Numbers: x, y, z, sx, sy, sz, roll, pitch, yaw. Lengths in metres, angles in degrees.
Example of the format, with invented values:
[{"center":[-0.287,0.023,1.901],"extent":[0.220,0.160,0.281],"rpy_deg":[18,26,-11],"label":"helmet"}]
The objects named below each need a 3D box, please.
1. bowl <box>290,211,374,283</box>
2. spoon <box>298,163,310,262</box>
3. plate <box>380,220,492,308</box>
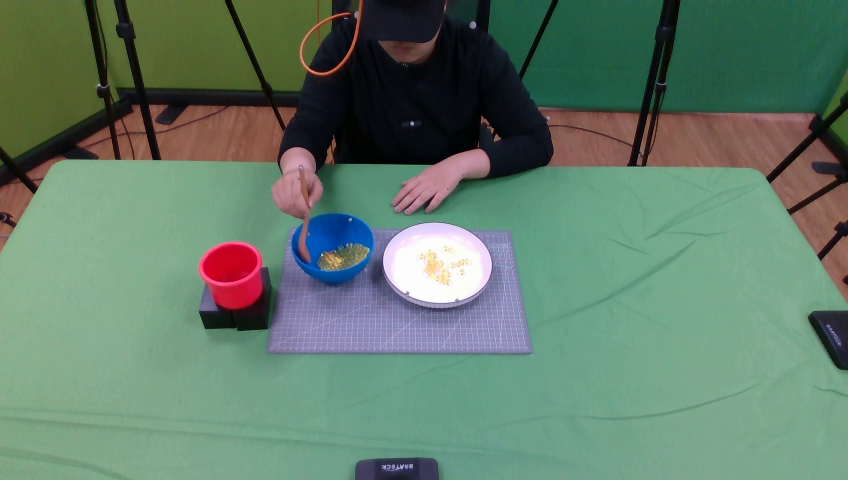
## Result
[{"center":[-0.167,0.026,1.117],"extent":[0.151,0.077,0.150],"rpy_deg":[2,46,-2],"label":"bowl"},{"center":[-0.206,-0.044,1.043],"extent":[0.022,0.194,0.041],"rpy_deg":[2,32,-9],"label":"spoon"},{"center":[0.022,0.048,1.137],"extent":[0.208,0.039,0.206],"rpy_deg":[2,46,-2],"label":"plate"}]
